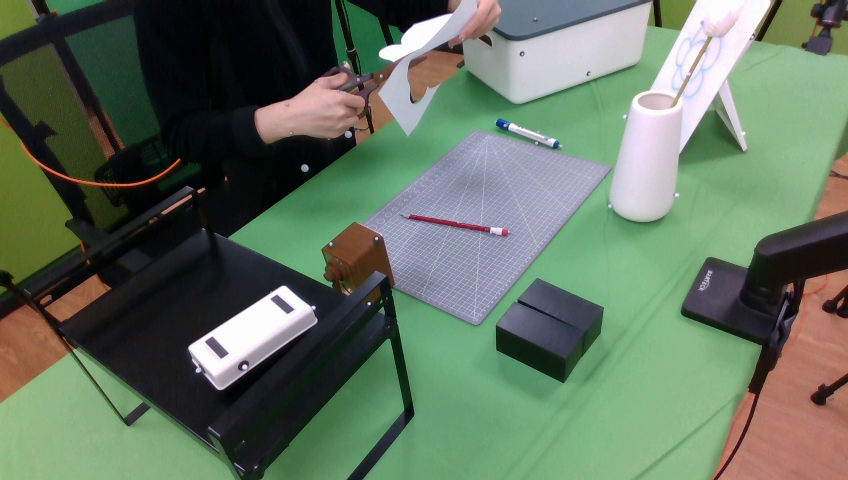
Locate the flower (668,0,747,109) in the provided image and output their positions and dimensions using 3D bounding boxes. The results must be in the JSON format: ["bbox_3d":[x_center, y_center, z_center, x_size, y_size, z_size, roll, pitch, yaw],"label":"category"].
[{"bbox_3d":[0.354,-0.187,0.879,0.038,0.362,0.044,30,48,14],"label":"flower"}]

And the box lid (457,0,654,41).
[{"bbox_3d":[0.285,-0.522,1.323,0.373,0.015,0.261,-22,43,-16],"label":"box lid"}]

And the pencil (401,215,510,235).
[{"bbox_3d":[0.049,-0.027,1.006,0.193,0.012,0.012,10,43,21],"label":"pencil"}]

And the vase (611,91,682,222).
[{"bbox_3d":[0.348,-0.125,0.935,0.098,0.201,0.097,-3,40,3],"label":"vase"}]

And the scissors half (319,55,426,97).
[{"bbox_3d":[-0.080,-0.253,0.910,0.175,0.040,0.013,-11,27,13],"label":"scissors half"}]

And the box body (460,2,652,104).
[{"bbox_3d":[0.291,-0.465,1.371,0.365,0.161,0.252,-22,42,-16],"label":"box body"}]

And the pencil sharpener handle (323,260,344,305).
[{"bbox_3d":[-0.131,0.062,0.839,0.035,0.068,0.031,29,55,28],"label":"pencil sharpener handle"}]

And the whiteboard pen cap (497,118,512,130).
[{"bbox_3d":[0.165,-0.235,1.227,0.033,0.018,0.018,31,53,31],"label":"whiteboard pen cap"}]

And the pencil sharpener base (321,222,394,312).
[{"bbox_3d":[-0.096,0.041,0.873,0.061,0.107,0.077,26,54,32],"label":"pencil sharpener base"}]

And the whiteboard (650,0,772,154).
[{"bbox_3d":[0.543,-0.298,1.076,0.144,0.305,0.216,12,40,-7],"label":"whiteboard"}]

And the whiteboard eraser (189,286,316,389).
[{"bbox_3d":[-0.166,0.096,0.593,0.113,0.042,0.055,-36,47,-29],"label":"whiteboard eraser"}]

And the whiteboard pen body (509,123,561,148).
[{"bbox_3d":[0.208,-0.211,1.195,0.139,0.017,0.017,30,52,33],"label":"whiteboard pen body"}]

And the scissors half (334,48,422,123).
[{"bbox_3d":[-0.069,-0.235,0.917,0.175,0.040,0.013,-37,14,23],"label":"scissors half"}]
